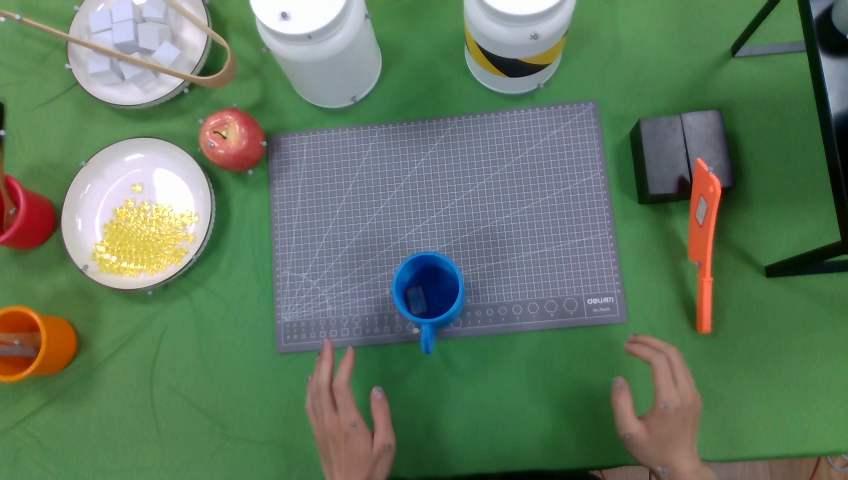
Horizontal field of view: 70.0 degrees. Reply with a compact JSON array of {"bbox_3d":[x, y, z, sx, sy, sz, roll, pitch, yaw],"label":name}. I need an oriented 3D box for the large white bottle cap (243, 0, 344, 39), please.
[{"bbox_3d":[-0.145,-0.280,0.675,0.115,0.018,0.114,-1,80,5],"label":"large white bottle cap"}]

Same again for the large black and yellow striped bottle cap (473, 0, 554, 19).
[{"bbox_3d":[0.099,-0.299,0.663,0.115,0.019,0.114,0,81,3],"label":"large black and yellow striped bottle cap"}]

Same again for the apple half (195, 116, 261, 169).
[{"bbox_3d":[-0.253,-0.122,0.800,0.081,0.075,0.053,-19,83,-3],"label":"apple half"}]

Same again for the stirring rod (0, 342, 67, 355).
[{"bbox_3d":[-0.538,0.130,0.739,0.177,0.006,0.014,10,66,-35],"label":"stirring rod"}]

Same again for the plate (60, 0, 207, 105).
[{"bbox_3d":[-0.404,-0.286,0.856,0.207,0.039,0.207,-1,81,4],"label":"plate"}]

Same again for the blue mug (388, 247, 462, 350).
[{"bbox_3d":[0.003,0.074,0.729,0.082,0.106,0.116,2,80,5],"label":"blue mug"}]

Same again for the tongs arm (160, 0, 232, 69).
[{"bbox_3d":[-0.404,-0.352,0.837,0.386,0.028,0.028,37,78,11],"label":"tongs arm"}]

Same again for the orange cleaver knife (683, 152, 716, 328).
[{"bbox_3d":[0.328,0.002,0.730,0.012,0.076,0.212,-6,111,3],"label":"orange cleaver knife"}]

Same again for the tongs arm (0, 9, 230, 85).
[{"bbox_3d":[-0.444,-0.280,0.825,0.383,0.026,0.050,23,79,10],"label":"tongs arm"}]

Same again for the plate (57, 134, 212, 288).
[{"bbox_3d":[-0.382,-0.038,0.812,0.209,0.038,0.208,-1,81,4],"label":"plate"}]

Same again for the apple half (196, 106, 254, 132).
[{"bbox_3d":[-0.266,-0.158,0.805,0.081,0.081,0.032,-20,84,1],"label":"apple half"}]

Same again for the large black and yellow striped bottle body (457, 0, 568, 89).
[{"bbox_3d":[0.106,-0.281,0.745,0.131,0.185,0.130,-1,79,5],"label":"large black and yellow striped bottle body"}]

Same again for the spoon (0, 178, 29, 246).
[{"bbox_3d":[-0.543,-0.076,0.776,0.041,0.021,0.195,15,126,7],"label":"spoon"}]

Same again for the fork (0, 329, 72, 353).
[{"bbox_3d":[-0.548,0.111,0.741,0.209,0.018,0.028,20,78,-37],"label":"fork"}]

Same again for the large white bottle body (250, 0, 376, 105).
[{"bbox_3d":[-0.137,-0.264,0.759,0.130,0.185,0.130,-1,79,4],"label":"large white bottle body"}]

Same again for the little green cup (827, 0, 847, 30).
[{"bbox_3d":[0.439,-0.242,0.604,0.061,0.039,0.061,-1,80,5],"label":"little green cup"}]
